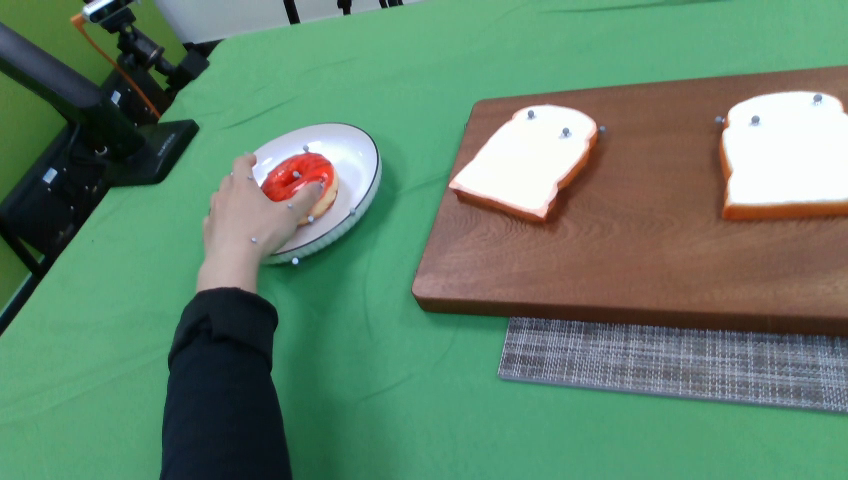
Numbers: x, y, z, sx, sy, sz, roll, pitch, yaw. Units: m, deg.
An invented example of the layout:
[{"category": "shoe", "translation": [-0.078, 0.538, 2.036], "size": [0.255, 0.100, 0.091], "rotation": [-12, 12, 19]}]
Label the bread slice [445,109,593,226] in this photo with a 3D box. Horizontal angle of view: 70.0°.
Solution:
[{"category": "bread slice", "translation": [0.096, -0.075, 0.579], "size": [0.106, 0.018, 0.134], "rotation": [19, 61, 35]}]

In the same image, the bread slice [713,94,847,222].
[{"category": "bread slice", "translation": [0.289, -0.070, 0.491], "size": [0.104, 0.019, 0.130], "rotation": [-2, 52, 21]}]

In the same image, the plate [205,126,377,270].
[{"category": "plate", "translation": [-0.146, -0.047, 0.688], "size": [0.209, 0.038, 0.207], "rotation": [-12, 47, 14]}]

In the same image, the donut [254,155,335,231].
[{"category": "donut", "translation": [-0.145, -0.053, 0.677], "size": [0.099, 0.049, 0.098], "rotation": [-14, 48, 17]}]
